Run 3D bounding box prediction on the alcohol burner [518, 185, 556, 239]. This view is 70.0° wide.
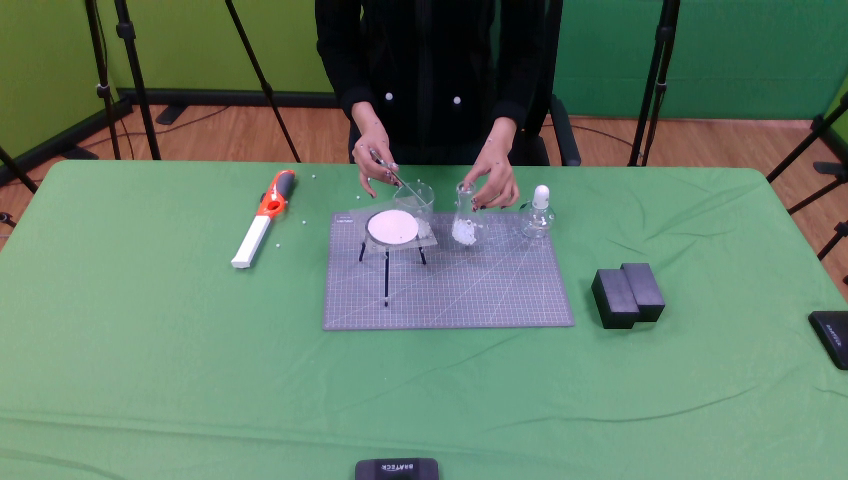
[{"bbox_3d":[0.227,-0.061,1.209,0.078,0.120,0.077,1,44,-1],"label":"alcohol burner"}]

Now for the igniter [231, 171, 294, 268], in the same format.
[{"bbox_3d":[-0.321,-0.051,1.220,0.057,0.025,0.275,2,45,11],"label":"igniter"}]

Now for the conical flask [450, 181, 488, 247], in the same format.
[{"bbox_3d":[0.082,-0.053,1.142,0.075,0.122,0.075,-4,42,4],"label":"conical flask"}]

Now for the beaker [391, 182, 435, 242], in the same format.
[{"bbox_3d":[-0.023,-0.053,1.192,0.084,0.101,0.073,-2,46,-5],"label":"beaker"}]

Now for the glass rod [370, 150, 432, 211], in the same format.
[{"bbox_3d":[-0.039,-0.107,1.127,0.008,0.201,0.008,-20,51,26],"label":"glass rod"}]

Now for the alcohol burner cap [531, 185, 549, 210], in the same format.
[{"bbox_3d":[0.228,-0.085,1.183,0.034,0.048,0.033,-1,48,1],"label":"alcohol burner cap"}]

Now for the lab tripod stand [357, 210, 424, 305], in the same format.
[{"bbox_3d":[-0.060,0.020,1.094,0.148,0.132,0.147,3,44,-2],"label":"lab tripod stand"}]

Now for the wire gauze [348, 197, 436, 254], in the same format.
[{"bbox_3d":[-0.056,-0.026,1.045,0.125,0.011,0.120,-12,46,-17],"label":"wire gauze"}]
